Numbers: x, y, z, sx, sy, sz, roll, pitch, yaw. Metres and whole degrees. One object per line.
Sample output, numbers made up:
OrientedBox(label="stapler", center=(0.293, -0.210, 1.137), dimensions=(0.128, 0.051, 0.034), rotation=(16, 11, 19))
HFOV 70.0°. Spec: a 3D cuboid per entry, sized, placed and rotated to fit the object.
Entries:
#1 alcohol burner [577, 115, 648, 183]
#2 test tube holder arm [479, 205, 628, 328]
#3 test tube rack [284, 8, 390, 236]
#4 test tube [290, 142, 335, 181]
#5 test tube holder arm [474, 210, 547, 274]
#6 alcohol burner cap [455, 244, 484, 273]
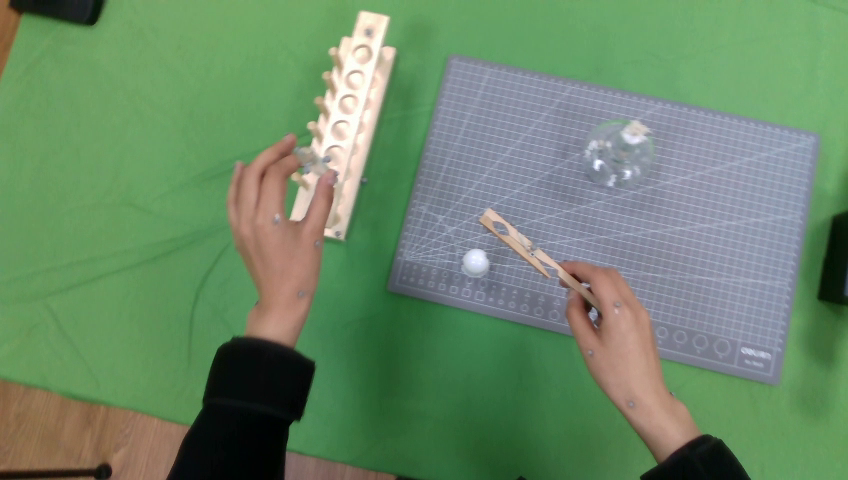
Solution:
OrientedBox(label="alcohol burner", center=(0.209, -0.104, 0.659), dimensions=(0.078, 0.119, 0.077), rotation=(-1, 81, 4))
OrientedBox(label="test tube holder arm", center=(0.123, 0.025, 0.577), dimensions=(0.178, 0.015, 0.013), rotation=(38, 93, -2))
OrientedBox(label="test tube rack", center=(-0.104, -0.134, 0.690), dimensions=(0.067, 0.085, 0.241), rotation=(14, 82, 4))
OrientedBox(label="test tube", center=(-0.099, -0.069, 0.553), dimensions=(0.017, 0.150, 0.017), rotation=(0, 89, 0))
OrientedBox(label="test tube holder arm", center=(0.084, 0.002, 0.576), dimensions=(0.088, 0.015, 0.010), rotation=(39, 93, -2))
OrientedBox(label="alcohol burner cap", center=(0.053, 0.019, 0.682), dimensions=(0.034, 0.048, 0.033), rotation=(0, 82, 0))
